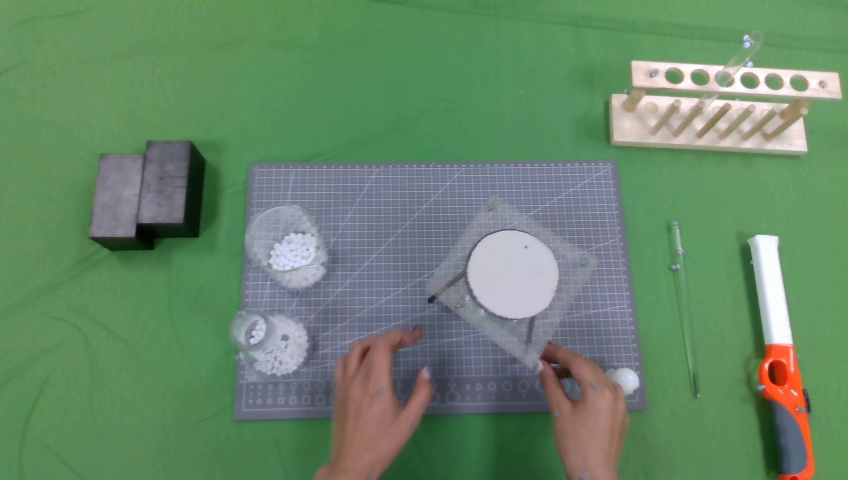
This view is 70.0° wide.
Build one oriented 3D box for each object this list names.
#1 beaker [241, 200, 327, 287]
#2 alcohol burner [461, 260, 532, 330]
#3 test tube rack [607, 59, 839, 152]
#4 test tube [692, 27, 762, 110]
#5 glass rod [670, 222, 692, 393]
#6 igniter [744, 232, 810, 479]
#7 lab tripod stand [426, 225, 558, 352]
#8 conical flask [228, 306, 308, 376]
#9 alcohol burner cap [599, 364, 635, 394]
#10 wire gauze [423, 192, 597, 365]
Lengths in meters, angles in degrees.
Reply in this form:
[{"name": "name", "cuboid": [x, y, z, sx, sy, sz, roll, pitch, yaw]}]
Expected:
[{"name": "beaker", "cuboid": [-0.143, 0.010, 0.655, 0.084, 0.101, 0.074, 35, 76, 8]}, {"name": "alcohol burner", "cuboid": [0.079, 0.055, 0.642, 0.078, 0.119, 0.077, 0, 74, 0]}, {"name": "test tube rack", "cuboid": [0.355, -0.160, 0.732, 0.242, 0.085, 0.066, 3, 73, -1]}, {"name": "test tube", "cuboid": [0.340, -0.189, 0.688, 0.017, 0.151, 0.017, 0, 73, 1]}, {"name": "glass rod", "cuboid": [0.297, 0.075, 0.701, 0.008, 0.008, 0.198, 0, 76, -2]}, {"name": "igniter", "cuboid": [0.395, 0.124, 0.681, 0.057, 0.025, 0.275, 4, 73, -12]}, {"name": "lab tripod stand", "cuboid": [0.077, 0.048, 0.633, 0.148, 0.132, 0.147, 0, 75, 0]}, {"name": "conical flask", "cuboid": [-0.164, 0.096, 0.617, 0.075, 0.122, 0.075, 1, 73, -2]}, {"name": "alcohol burner cap", "cuboid": [0.212, 0.149, 0.656, 0.034, 0.048, 0.033, 1, 72, -2]}, {"name": "wire gauze", "cuboid": [0.081, 0.031, 0.568, 0.124, 0.011, 0.121, 35, 77, 8]}]
